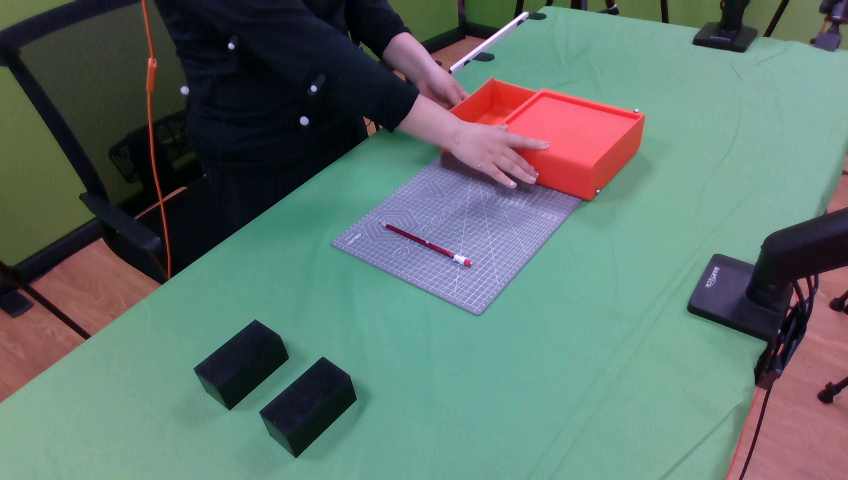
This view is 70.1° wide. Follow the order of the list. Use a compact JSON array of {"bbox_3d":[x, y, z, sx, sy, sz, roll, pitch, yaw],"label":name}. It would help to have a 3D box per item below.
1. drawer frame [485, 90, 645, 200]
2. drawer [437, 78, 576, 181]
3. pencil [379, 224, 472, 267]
[{"bbox_3d":[0.253,-0.180,1.095,0.212,0.083,0.202,24,48,31],"label":"drawer frame"},{"bbox_3d":[0.165,-0.215,1.151,0.210,0.073,0.195,25,50,30],"label":"drawer"},{"bbox_3d":[-0.002,0.005,0.970,0.192,0.012,0.012,24,49,33],"label":"pencil"}]
